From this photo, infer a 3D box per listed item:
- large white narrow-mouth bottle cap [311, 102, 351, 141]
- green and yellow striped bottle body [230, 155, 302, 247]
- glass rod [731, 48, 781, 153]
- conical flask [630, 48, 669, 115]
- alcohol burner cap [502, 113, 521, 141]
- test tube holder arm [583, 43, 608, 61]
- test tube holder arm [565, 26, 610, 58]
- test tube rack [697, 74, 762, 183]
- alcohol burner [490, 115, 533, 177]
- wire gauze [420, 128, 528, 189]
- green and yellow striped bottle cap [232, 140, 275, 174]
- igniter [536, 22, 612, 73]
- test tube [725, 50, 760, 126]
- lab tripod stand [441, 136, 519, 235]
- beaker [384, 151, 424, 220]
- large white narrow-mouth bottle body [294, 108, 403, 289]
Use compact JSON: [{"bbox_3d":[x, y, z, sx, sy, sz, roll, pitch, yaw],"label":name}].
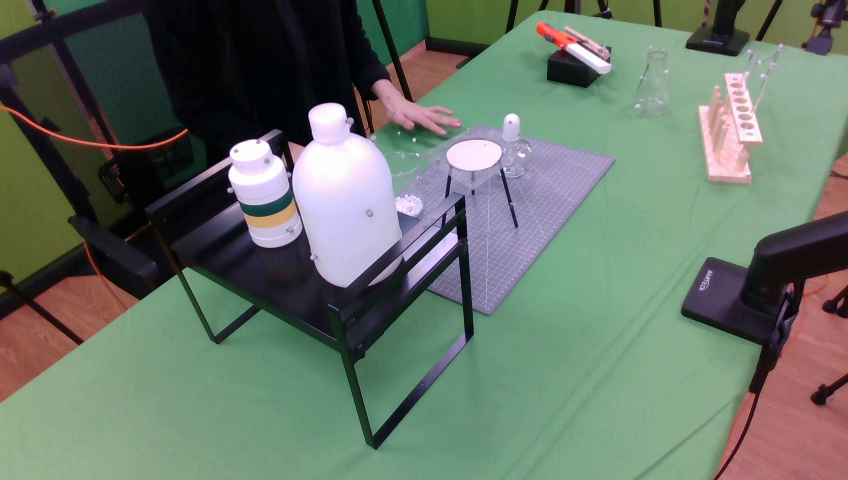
[{"bbox_3d":[-0.089,-0.113,0.579,0.038,0.024,0.037,-3,39,3],"label":"large white narrow-mouth bottle cap"},{"bbox_3d":[-0.188,-0.055,0.714,0.063,0.120,0.063,-4,41,4],"label":"green and yellow striped bottle body"},{"bbox_3d":[0.554,-0.228,1.014,0.008,0.200,0.008,1,44,-1],"label":"glass rod"},{"bbox_3d":[0.457,-0.317,1.205,0.075,0.122,0.075,-4,41,4],"label":"conical flask"},{"bbox_3d":[0.155,-0.200,1.058,0.034,0.048,0.033,-1,50,2],"label":"alcohol burner cap"},{"bbox_3d":[0.379,-0.420,1.341,0.010,0.015,0.087,-39,41,10],"label":"test tube holder arm"},{"bbox_3d":[0.369,-0.451,1.373,0.013,0.015,0.177,-39,41,10],"label":"test tube holder arm"},{"bbox_3d":[0.547,-0.208,1.094,0.066,0.085,0.242,5,42,15],"label":"test tube rack"},{"bbox_3d":[0.157,-0.173,1.083,0.078,0.119,0.077,-4,43,4],"label":"alcohol burner"},{"bbox_3d":[0.076,-0.132,0.926,0.122,0.011,0.124,-34,47,-26],"label":"wire gauze"},{"bbox_3d":[-0.192,-0.094,0.680,0.045,0.020,0.045,-5,39,5],"label":"green and yellow striped bottle cap"},{"bbox_3d":[0.330,-0.439,1.366,0.057,0.025,0.274,-12,41,-20],"label":"igniter"},{"bbox_3d":[0.570,-0.269,1.086,0.017,0.151,0.017,-1,45,2],"label":"test tube"},{"bbox_3d":[0.083,-0.086,0.976,0.148,0.132,0.147,-4,42,4],"label":"lab tripod stand"},{"bbox_3d":[-0.038,-0.092,1.026,0.074,0.101,0.083,2,41,10],"label":"beaker"},{"bbox_3d":[-0.082,-0.047,0.634,0.102,0.195,0.101,-4,40,4],"label":"large white narrow-mouth bottle body"}]
